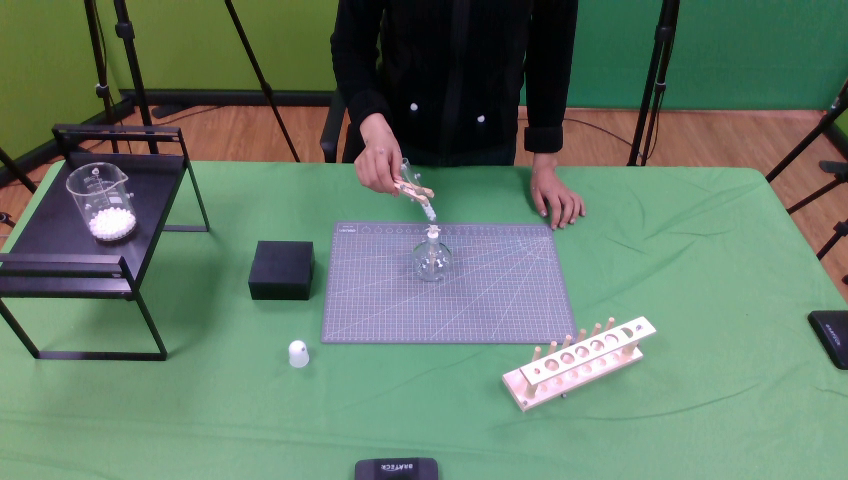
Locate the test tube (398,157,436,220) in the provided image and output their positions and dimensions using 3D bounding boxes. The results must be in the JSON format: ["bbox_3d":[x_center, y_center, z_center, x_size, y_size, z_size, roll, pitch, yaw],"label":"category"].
[{"bbox_3d":[-0.009,-0.082,0.993,0.017,0.151,0.017,-12,51,15],"label":"test tube"}]

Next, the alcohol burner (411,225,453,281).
[{"bbox_3d":[0.015,0.018,1.110,0.078,0.120,0.077,1,45,-1],"label":"alcohol burner"}]

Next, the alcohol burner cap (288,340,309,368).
[{"bbox_3d":[-0.207,0.183,0.991,0.034,0.048,0.033,3,46,-3],"label":"alcohol burner cap"}]

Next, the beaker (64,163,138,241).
[{"bbox_3d":[-0.477,-0.055,0.910,0.084,0.101,0.073,-9,48,-13],"label":"beaker"}]

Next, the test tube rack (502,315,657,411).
[{"bbox_3d":[0.253,0.186,0.988,0.242,0.085,0.066,-18,50,-20],"label":"test tube rack"}]

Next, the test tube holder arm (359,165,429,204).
[{"bbox_3d":[-0.056,-0.097,1.041,0.177,0.015,0.013,27,65,40],"label":"test tube holder arm"}]

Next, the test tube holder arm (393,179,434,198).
[{"bbox_3d":[-0.020,-0.087,1.015,0.087,0.015,0.010,19,61,37],"label":"test tube holder arm"}]
